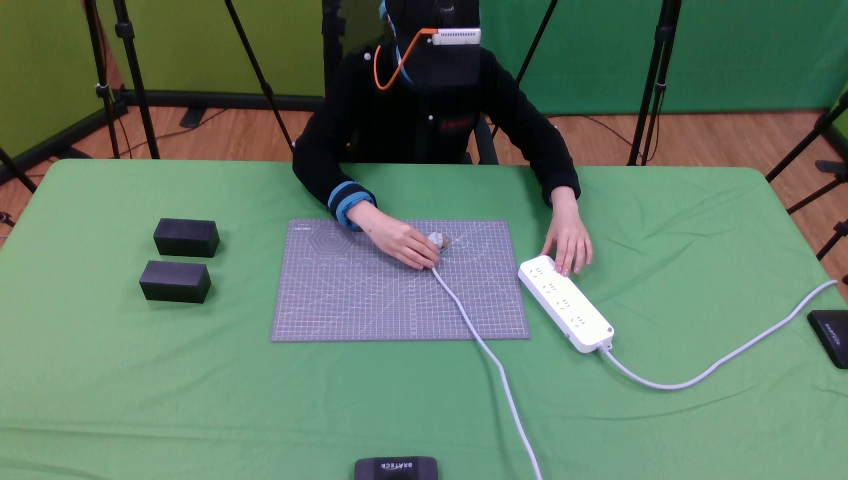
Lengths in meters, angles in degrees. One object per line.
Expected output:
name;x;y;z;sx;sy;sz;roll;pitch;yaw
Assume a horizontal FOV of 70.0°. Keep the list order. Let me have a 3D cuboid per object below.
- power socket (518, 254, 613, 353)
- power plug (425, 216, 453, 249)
power socket;0.253;0.111;1.099;0.072;0.033;0.225;-19;51;-20
power plug;0.029;-0.017;1.172;0.035;0.072;0.052;28;9;-21
